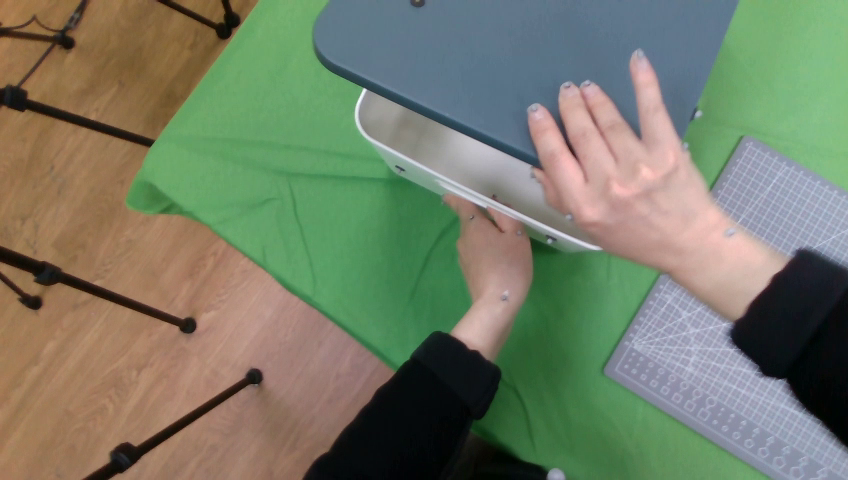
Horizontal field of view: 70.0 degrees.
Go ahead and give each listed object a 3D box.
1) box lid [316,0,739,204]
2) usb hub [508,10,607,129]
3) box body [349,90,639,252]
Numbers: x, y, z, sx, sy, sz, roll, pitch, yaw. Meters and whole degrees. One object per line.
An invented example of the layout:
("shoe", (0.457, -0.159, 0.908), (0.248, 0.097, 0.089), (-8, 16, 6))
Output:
("box lid", (0.110, -0.217, 0.468), (0.262, 0.015, 0.370), (26, 69, 9))
("usb hub", (0.143, -0.183, 0.651), (0.049, 0.025, 0.125), (32, 84, 9))
("box body", (0.124, -0.193, 0.590), (0.253, 0.161, 0.363), (25, 86, 7))
